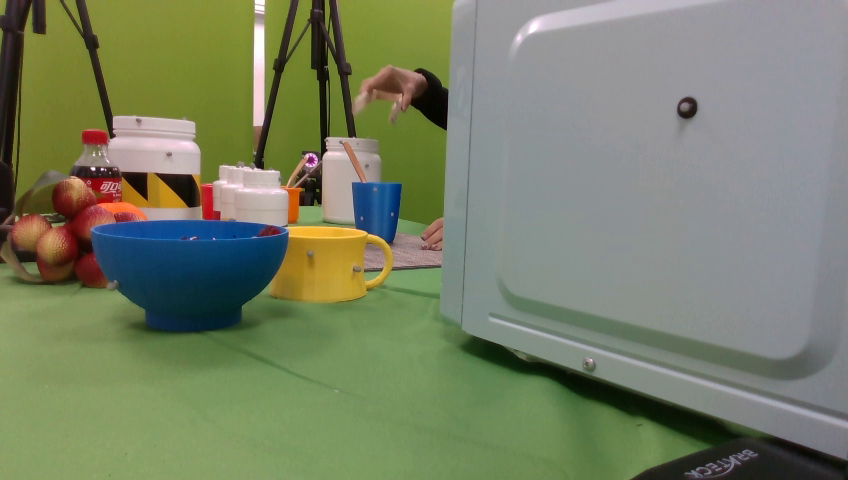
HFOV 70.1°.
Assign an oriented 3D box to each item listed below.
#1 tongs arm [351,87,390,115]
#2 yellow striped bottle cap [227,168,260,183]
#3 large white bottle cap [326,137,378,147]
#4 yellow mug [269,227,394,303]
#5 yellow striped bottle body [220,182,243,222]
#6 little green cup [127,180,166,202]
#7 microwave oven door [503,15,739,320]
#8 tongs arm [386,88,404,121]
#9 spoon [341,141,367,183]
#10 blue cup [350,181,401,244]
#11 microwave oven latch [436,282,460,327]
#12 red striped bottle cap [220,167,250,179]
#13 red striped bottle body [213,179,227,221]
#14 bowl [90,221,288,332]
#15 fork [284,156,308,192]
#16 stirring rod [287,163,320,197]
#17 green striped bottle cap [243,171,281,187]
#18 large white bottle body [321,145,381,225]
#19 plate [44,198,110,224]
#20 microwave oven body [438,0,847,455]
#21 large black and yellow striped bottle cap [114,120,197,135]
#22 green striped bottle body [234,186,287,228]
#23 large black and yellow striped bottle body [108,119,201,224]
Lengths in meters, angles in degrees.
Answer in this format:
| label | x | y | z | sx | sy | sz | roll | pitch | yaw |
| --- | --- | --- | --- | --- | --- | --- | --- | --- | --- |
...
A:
| label | x | y | z | sx | sy | sz | roll | pitch | yaw |
| --- | --- | --- | --- | --- | --- | --- | --- | --- | --- |
| tongs arm | -0.102 | -0.271 | 1.159 | 0.028 | 0.028 | 0.387 | 6 | 17 | 2 |
| yellow striped bottle cap | -0.243 | -0.087 | 0.818 | 0.044 | 0.018 | 0.044 | 3 | 6 | 0 |
| large white bottle cap | -0.158 | -0.214 | 1.329 | 0.115 | 0.018 | 0.115 | 2 | 8 | 0 |
| yellow mug | -0.094 | 0.023 | 0.629 | 0.131 | 0.064 | 0.099 | 0 | 7 | -22 |
| yellow striped bottle body | -0.245 | -0.036 | 0.825 | 0.063 | 0.120 | 0.063 | 3 | 8 | 0 |
| little green cup | -0.486 | -0.086 | 1.061 | 0.061 | 0.038 | 0.061 | 1 | 7 | 0 |
| microwave oven door | 0.218 | -0.065 | 0.600 | 0.358 | 0.243 | 0.039 | -4 | 10 | -41 |
| tongs arm | -0.066 | -0.265 | 1.161 | 0.051 | 0.026 | 0.384 | 10 | 18 | 1 |
| spoon | -0.101 | -0.089 | 1.031 | 0.042 | 0.193 | 0.021 | -9 | -18 | -39 |
| blue cup | -0.082 | -0.046 | 1.013 | 0.093 | 0.100 | 0.092 | 3 | 8 | 0 |
| microwave oven latch | 0.045 | 0.046 | 0.470 | 0.079 | 0.029 | 0.030 | -3 | 8 | -40 |
| red striped bottle cap | -0.281 | -0.100 | 0.901 | 0.044 | 0.017 | 0.044 | -1 | 5 | 0 |
| red striped bottle body | -0.284 | -0.048 | 0.909 | 0.063 | 0.119 | 0.063 | 3 | 12 | 0 |
| bowl | -0.190 | 0.029 | 0.500 | 0.151 | 0.077 | 0.151 | 3 | 7 | 0 |
| fork | -0.295 | -0.116 | 1.323 | 0.028 | 0.019 | 0.207 | 0 | 50 | 21 |
| stirring rod | -0.283 | -0.107 | 1.298 | 0.014 | 0.006 | 0.176 | 9 | 52 | 51 |
| green striped bottle cap | -0.198 | -0.074 | 0.736 | 0.044 | 0.020 | 0.044 | 1 | 7 | 0 |
| large white bottle body | -0.162 | -0.131 | 1.340 | 0.131 | 0.184 | 0.130 | 2 | 8 | 0 |
| plate | -0.617 | -0.056 | 1.179 | 0.209 | 0.038 | 0.209 | 3 | 7 | 0 |
| microwave oven body | 0.280 | -0.039 | 0.464 | 0.444 | 0.260 | 0.324 | -3 | 8 | -41 |
| large black and yellow striped bottle cap | -0.407 | -0.171 | 0.920 | 0.115 | 0.019 | 0.115 | 2 | 9 | 0 |
| green striped bottle body | -0.201 | -0.023 | 0.743 | 0.063 | 0.119 | 0.063 | 2 | 7 | 0 |
| large black and yellow striped bottle body | -0.412 | -0.088 | 0.930 | 0.131 | 0.184 | 0.130 | 3 | 7 | 0 |
